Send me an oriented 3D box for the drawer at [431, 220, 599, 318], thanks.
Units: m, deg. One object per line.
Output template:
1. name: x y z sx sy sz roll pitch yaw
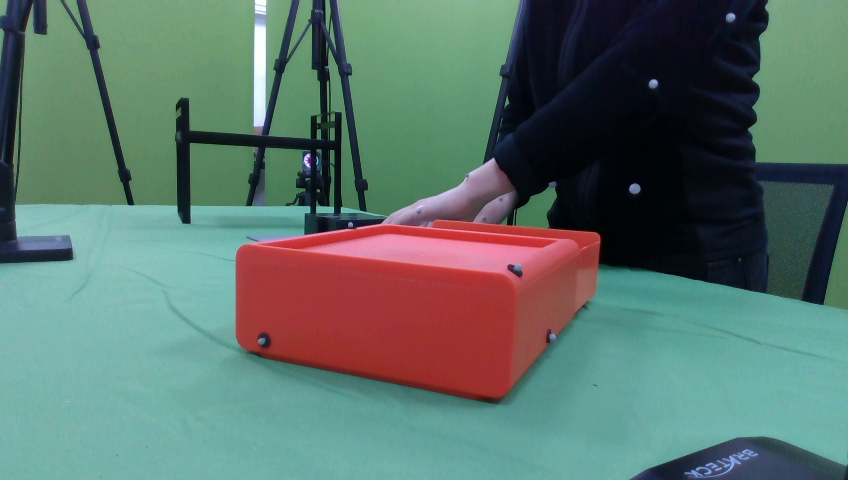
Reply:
1. drawer: 0.050 0.029 0.581 0.194 0.073 0.212 6 9 25

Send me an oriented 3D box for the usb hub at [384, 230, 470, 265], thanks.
1. usb hub: 0.006 0.008 0.853 0.126 0.025 0.049 -11 18 -43

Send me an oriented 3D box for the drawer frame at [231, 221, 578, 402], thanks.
1. drawer frame: 0.001 0.038 0.474 0.201 0.082 0.214 6 9 22
